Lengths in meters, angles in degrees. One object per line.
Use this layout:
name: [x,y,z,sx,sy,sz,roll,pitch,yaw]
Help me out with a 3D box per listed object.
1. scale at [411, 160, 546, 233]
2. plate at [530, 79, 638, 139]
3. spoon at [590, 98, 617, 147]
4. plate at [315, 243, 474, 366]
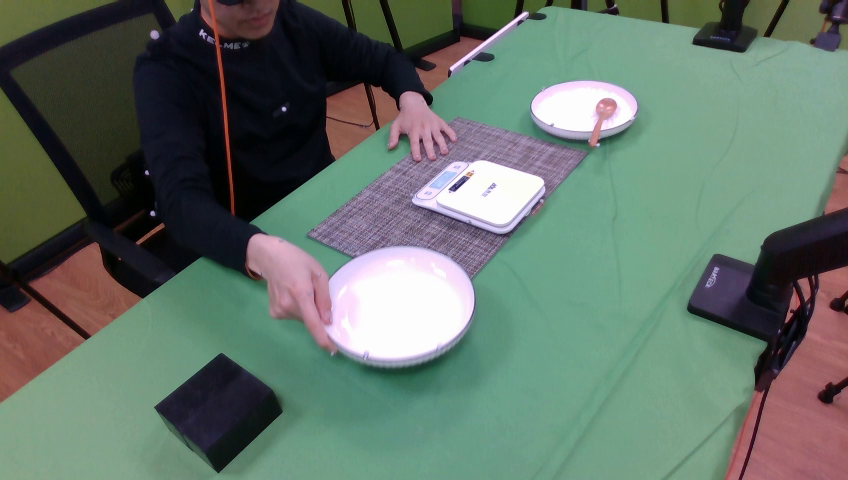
scale: [0.092,-0.083,1.039,0.199,0.032,0.149,22,48,30]
plate: [0.317,-0.257,1.209,0.209,0.038,0.208,-4,41,4]
spoon: [0.334,-0.225,1.145,0.041,0.022,0.194,11,37,20]
plate: [-0.038,0.087,0.803,0.208,0.039,0.206,-1,42,2]
